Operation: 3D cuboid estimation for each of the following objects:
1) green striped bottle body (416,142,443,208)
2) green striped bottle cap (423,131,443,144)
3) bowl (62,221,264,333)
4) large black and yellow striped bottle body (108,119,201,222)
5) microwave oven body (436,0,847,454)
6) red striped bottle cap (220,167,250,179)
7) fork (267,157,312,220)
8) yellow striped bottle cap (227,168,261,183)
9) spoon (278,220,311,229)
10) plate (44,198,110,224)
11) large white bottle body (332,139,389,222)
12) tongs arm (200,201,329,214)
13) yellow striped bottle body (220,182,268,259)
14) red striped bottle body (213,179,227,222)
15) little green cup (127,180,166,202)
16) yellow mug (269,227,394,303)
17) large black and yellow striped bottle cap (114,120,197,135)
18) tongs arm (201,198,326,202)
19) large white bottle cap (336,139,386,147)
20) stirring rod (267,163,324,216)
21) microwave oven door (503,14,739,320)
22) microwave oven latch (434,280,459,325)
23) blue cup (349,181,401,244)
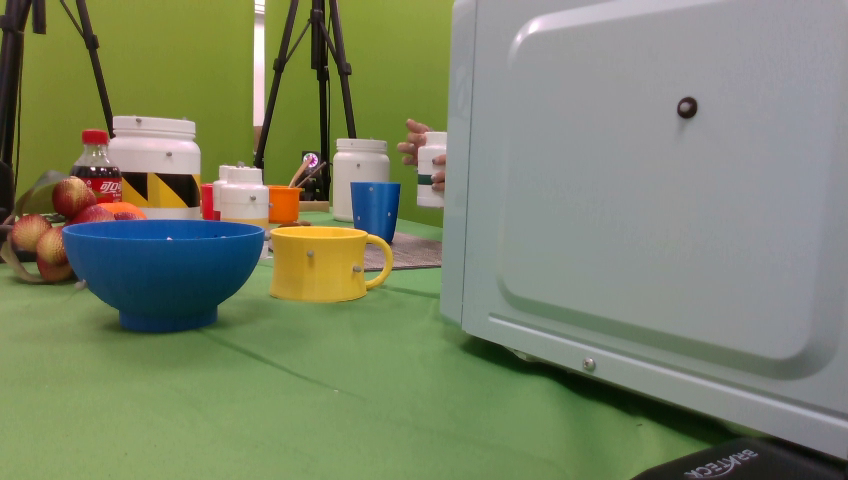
[{"bbox_3d":[0.019,-0.112,0.981,0.063,0.119,0.063,1,7,0],"label":"green striped bottle body"},{"bbox_3d":[0.020,-0.164,0.974,0.044,0.020,0.044,-3,7,1],"label":"green striped bottle cap"},{"bbox_3d":[-0.208,0.029,0.496,0.151,0.077,0.151,2,7,0],"label":"bowl"},{"bbox_3d":[-0.412,-0.088,0.930,0.131,0.184,0.130,3,7,0],"label":"large black and yellow striped bottle body"},{"bbox_3d":[0.279,-0.040,0.465,0.444,0.260,0.324,-3,9,-41],"label":"microwave oven body"},{"bbox_3d":[-0.281,-0.100,0.901,0.044,0.017,0.044,-1,5,0],"label":"red striped bottle cap"},{"bbox_3d":[-0.289,-0.116,1.321,0.028,0.019,0.207,6,51,19],"label":"fork"},{"bbox_3d":[-0.243,-0.087,0.818,0.044,0.018,0.044,3,6,0],"label":"yellow striped bottle cap"},{"bbox_3d":[-0.232,-0.027,1.116,0.041,0.021,0.193,-22,6,4],"label":"spoon"},{"bbox_3d":[-0.617,-0.056,1.179,0.209,0.038,0.209,3,7,0],"label":"plate"},{"bbox_3d":[-0.145,-0.136,1.387,0.131,0.184,0.130,2,7,0],"label":"large white bottle body"},{"bbox_3d":[-0.378,-0.079,1.440,0.387,0.026,0.050,-4,8,-44],"label":"tongs arm"},{"bbox_3d":[-0.246,-0.036,0.825,0.063,0.120,0.063,3,8,0],"label":"yellow striped bottle body"},{"bbox_3d":[-0.284,-0.048,0.909,0.063,0.119,0.063,3,12,0],"label":"red striped bottle body"},{"bbox_3d":[-0.485,-0.086,1.061,0.061,0.038,0.061,1,7,0],"label":"little green cup"},{"bbox_3d":[-0.094,0.023,0.629,0.131,0.064,0.099,0,7,-22],"label":"yellow mug"},{"bbox_3d":[-0.407,-0.171,0.920,0.115,0.019,0.115,2,9,0],"label":"large black and yellow striped bottle cap"},{"bbox_3d":[-0.433,-0.090,1.508,0.390,0.028,0.028,-1,2,-29],"label":"tongs arm"},{"bbox_3d":[-0.143,-0.219,1.375,0.115,0.018,0.115,2,8,0],"label":"large white bottle cap"},{"bbox_3d":[-0.278,-0.105,1.294,0.176,0.006,0.014,-47,25,-18],"label":"stirring rod"},{"bbox_3d":[0.218,-0.065,0.600,0.358,0.243,0.039,-4,10,-41],"label":"microwave oven door"},{"bbox_3d":[0.044,0.045,0.470,0.079,0.029,0.030,-2,8,-39],"label":"microwave oven latch"},{"bbox_3d":[-0.082,-0.047,1.009,0.093,0.100,0.092,1,6,0],"label":"blue cup"}]
